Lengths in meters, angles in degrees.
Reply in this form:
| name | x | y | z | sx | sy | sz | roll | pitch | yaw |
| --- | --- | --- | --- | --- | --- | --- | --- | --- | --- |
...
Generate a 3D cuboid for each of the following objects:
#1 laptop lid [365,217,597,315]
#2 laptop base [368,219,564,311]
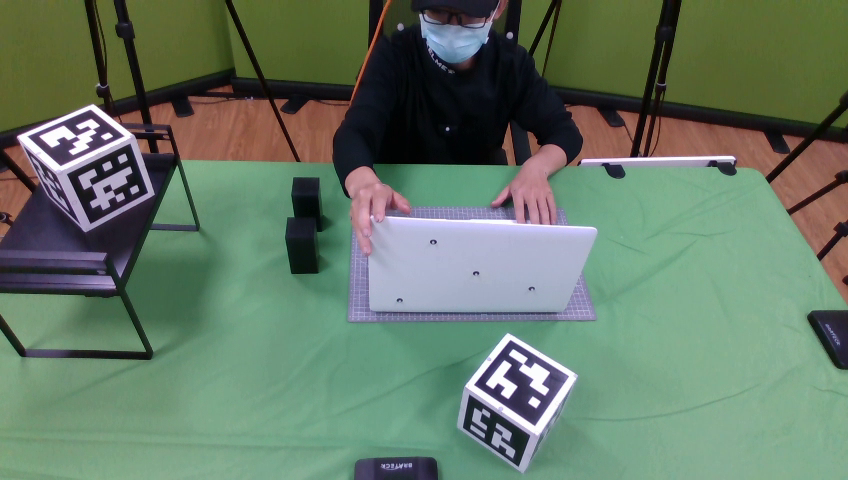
| name | x | y | z | sx | sy | sz | roll | pitch | yaw |
| --- | --- | --- | --- | --- | --- | --- | --- | --- | --- |
| laptop lid | 0.083 | 0.050 | 0.987 | 0.357 | 0.243 | 0.013 | 2 | 47 | -4 |
| laptop base | 0.074 | 0.044 | 1.160 | 0.354 | 0.023 | 0.234 | 0 | 43 | -3 |
